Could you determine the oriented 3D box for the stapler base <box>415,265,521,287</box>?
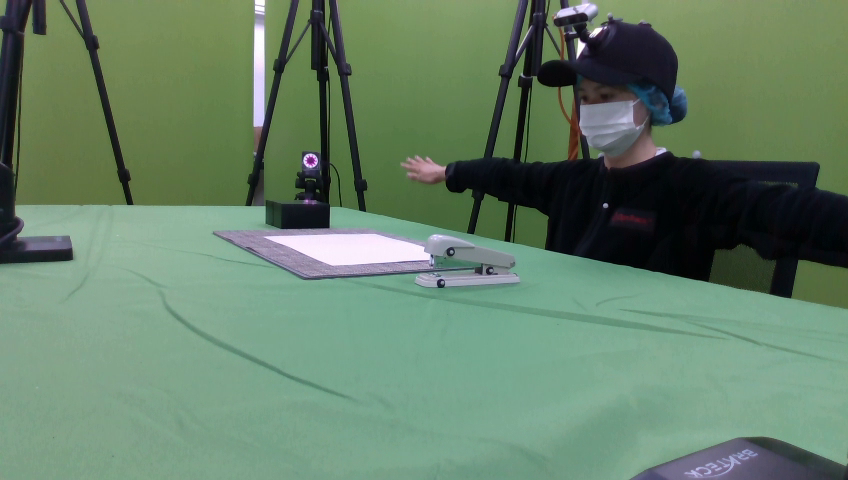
[{"bbox_3d":[0.053,0.039,0.716,0.131,0.024,0.041,1,9,-27],"label":"stapler base"}]

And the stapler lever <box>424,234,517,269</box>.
[{"bbox_3d":[0.056,0.014,0.714,0.119,0.040,0.026,1,9,-27],"label":"stapler lever"}]
